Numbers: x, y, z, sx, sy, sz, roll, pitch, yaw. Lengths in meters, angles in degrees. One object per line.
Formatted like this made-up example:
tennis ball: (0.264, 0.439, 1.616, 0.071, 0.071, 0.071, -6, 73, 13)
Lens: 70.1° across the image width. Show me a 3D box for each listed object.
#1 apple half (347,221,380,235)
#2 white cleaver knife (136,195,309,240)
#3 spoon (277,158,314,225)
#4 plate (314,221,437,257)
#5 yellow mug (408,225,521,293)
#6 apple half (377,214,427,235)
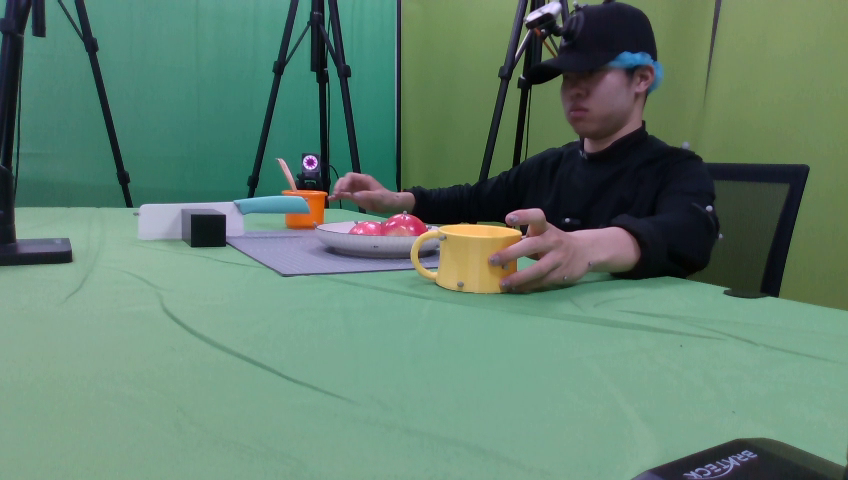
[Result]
apple half: (-0.089, -0.014, 0.985, 0.081, 0.033, 0.081, 5, 6, 0)
white cleaver knife: (-0.337, -0.039, 1.037, 0.288, 0.066, 0.021, -6, 14, -29)
spoon: (-0.272, -0.103, 1.260, 0.042, 0.193, 0.021, -5, -34, -33)
plate: (-0.067, -0.002, 0.947, 0.209, 0.038, 0.209, 3, 7, 0)
yellow mug: (0.046, 0.019, 0.712, 0.131, 0.064, 0.100, 2, 9, 4)
apple half: (-0.034, -0.013, 0.924, 0.080, 0.053, 0.075, 5, 10, 16)
